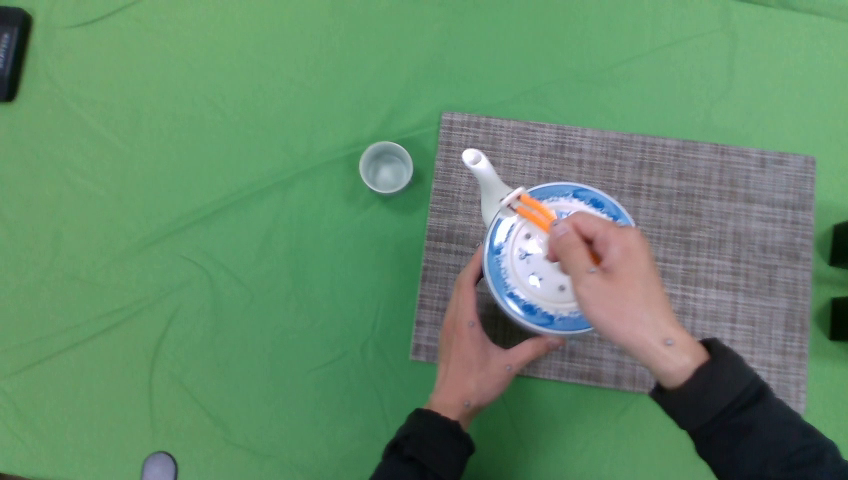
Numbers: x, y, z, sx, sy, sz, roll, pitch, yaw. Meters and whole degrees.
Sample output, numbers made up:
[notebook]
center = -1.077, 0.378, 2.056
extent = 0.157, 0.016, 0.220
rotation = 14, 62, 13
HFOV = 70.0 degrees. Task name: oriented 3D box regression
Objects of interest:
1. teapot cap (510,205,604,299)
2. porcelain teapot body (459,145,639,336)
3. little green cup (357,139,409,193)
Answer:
[teapot cap]
center = 0.118, 0.009, 0.536
extent = 0.085, 0.044, 0.085
rotation = -1, 77, 5
[porcelain teapot body]
center = 0.106, -0.004, 0.581
extent = 0.145, 0.226, 0.204
rotation = -44, 76, 0
[little green cup]
center = -0.047, -0.085, 0.714
extent = 0.061, 0.039, 0.061
rotation = 0, 81, 1
